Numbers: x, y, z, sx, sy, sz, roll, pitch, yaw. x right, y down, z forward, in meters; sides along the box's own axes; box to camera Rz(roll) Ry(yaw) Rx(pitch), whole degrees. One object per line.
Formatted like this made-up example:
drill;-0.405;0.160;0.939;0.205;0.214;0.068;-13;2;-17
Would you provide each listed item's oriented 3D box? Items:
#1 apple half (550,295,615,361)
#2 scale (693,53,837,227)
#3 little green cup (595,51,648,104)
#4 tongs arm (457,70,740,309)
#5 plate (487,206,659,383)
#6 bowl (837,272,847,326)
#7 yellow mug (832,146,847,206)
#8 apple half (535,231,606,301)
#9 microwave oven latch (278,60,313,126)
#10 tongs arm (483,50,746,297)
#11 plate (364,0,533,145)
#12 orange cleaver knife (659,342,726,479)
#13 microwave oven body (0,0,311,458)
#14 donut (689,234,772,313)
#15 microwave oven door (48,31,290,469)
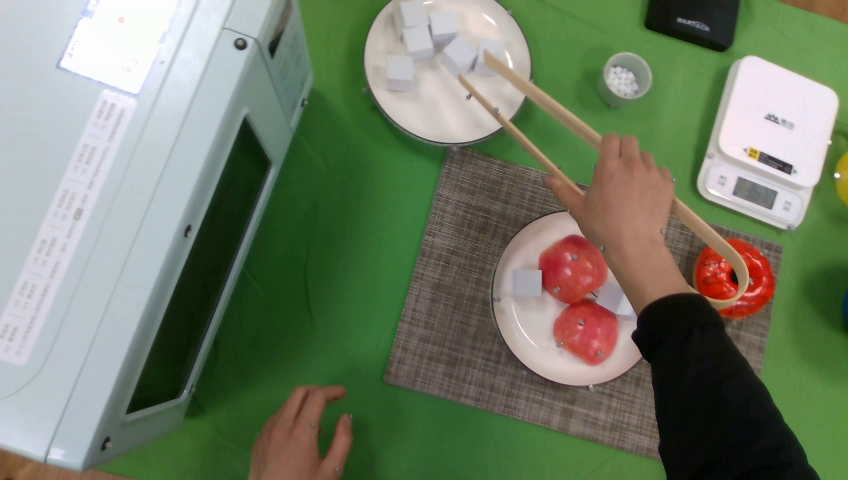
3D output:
apple half;0.193;0.102;0.717;0.081;0.033;0.081;0;82;-2
scale;0.444;-0.131;0.789;0.149;0.031;0.200;21;81;-2
little green cup;0.250;-0.205;0.775;0.061;0.038;0.061;1;82;-6
tongs arm;0.169;-0.069;0.645;0.051;0.027;0.381;-35;67;-7
plate;0.175;0.064;0.727;0.209;0.038;0.208;1;82;-6
bowl;0.577;0.077;0.752;0.151;0.077;0.151;1;83;-5
yellow mug;0.591;-0.102;0.783;0.100;0.064;0.130;-16;83;-7
apple half;0.176;0.027;0.717;0.081;0.053;0.074;-29;83;-9
microwave oven latch;-0.155;-0.176;0.709;0.030;0.029;0.079;22;81;-3
tongs arm;0.189;-0.086;0.648;0.028;0.028;0.384;-37;67;-12
plate;0.030;-0.216;0.753;0.208;0.039;0.207;1;82;-6
orange cleaver knife;0.328;0.230;0.730;0.077;0.012;0.210;-1;81;-11
microwave oven body;-0.342;-0.073;0.578;0.326;0.260;0.440;19;81;-3
donut;0.376;0.041;0.748;0.099;0.048;0.098;1;82;-4
microwave oven door;-0.217;0.014;0.574;0.039;0.244;0.354;19;80;-3
